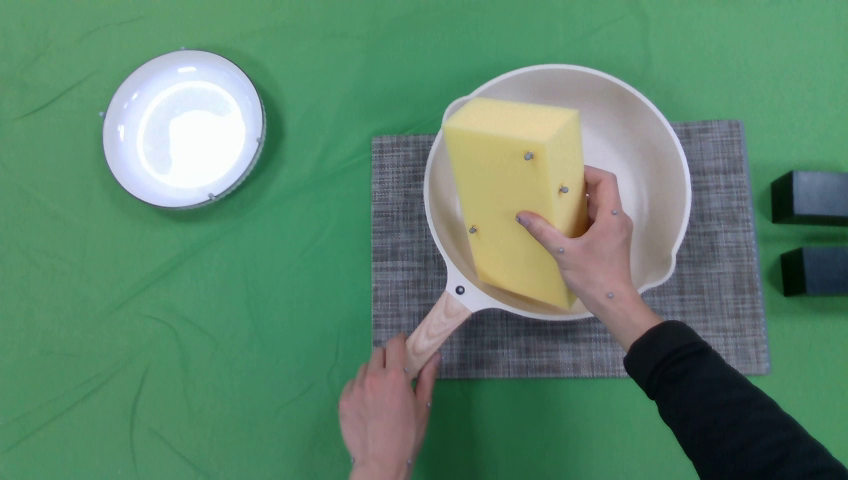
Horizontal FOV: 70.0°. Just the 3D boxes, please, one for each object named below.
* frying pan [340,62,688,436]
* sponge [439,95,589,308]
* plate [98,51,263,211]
[{"bbox_3d":[0.076,0.019,0.676,0.305,0.103,0.487,40,77,11],"label":"frying pan"},{"bbox_3d":[0.099,-0.038,0.626,0.117,0.209,0.061,16,47,36],"label":"sponge"},{"bbox_3d":[-0.303,-0.135,0.768,0.207,0.039,0.207,-1,80,4],"label":"plate"}]
